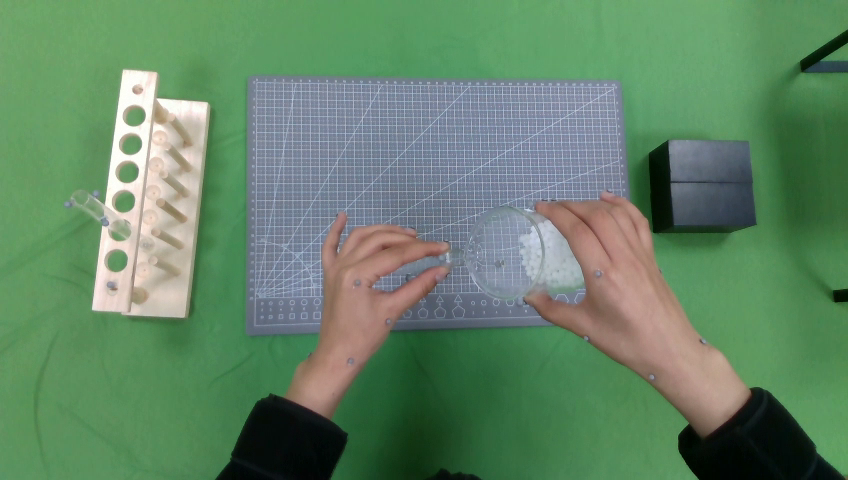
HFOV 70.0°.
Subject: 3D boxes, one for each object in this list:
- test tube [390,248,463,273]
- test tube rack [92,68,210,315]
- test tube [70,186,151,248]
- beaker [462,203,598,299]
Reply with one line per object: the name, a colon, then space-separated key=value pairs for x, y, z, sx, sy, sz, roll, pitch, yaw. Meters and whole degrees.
test tube: x=-0.002 y=0.021 z=0.569 sx=0.017 sy=0.150 sz=0.017 roll=2 pitch=84 yaw=-22
test tube rack: x=-0.280 y=-0.046 z=0.634 sx=0.067 sy=0.085 sz=0.241 roll=4 pitch=81 yaw=-5
test tube: x=-0.294 y=-0.018 z=0.579 sx=0.017 sy=0.151 sz=0.017 roll=1 pitch=74 yaw=-3
beaker: x=0.091 y=0.010 z=0.505 sx=0.101 sy=0.083 sz=0.074 roll=1 pitch=86 yaw=-47
